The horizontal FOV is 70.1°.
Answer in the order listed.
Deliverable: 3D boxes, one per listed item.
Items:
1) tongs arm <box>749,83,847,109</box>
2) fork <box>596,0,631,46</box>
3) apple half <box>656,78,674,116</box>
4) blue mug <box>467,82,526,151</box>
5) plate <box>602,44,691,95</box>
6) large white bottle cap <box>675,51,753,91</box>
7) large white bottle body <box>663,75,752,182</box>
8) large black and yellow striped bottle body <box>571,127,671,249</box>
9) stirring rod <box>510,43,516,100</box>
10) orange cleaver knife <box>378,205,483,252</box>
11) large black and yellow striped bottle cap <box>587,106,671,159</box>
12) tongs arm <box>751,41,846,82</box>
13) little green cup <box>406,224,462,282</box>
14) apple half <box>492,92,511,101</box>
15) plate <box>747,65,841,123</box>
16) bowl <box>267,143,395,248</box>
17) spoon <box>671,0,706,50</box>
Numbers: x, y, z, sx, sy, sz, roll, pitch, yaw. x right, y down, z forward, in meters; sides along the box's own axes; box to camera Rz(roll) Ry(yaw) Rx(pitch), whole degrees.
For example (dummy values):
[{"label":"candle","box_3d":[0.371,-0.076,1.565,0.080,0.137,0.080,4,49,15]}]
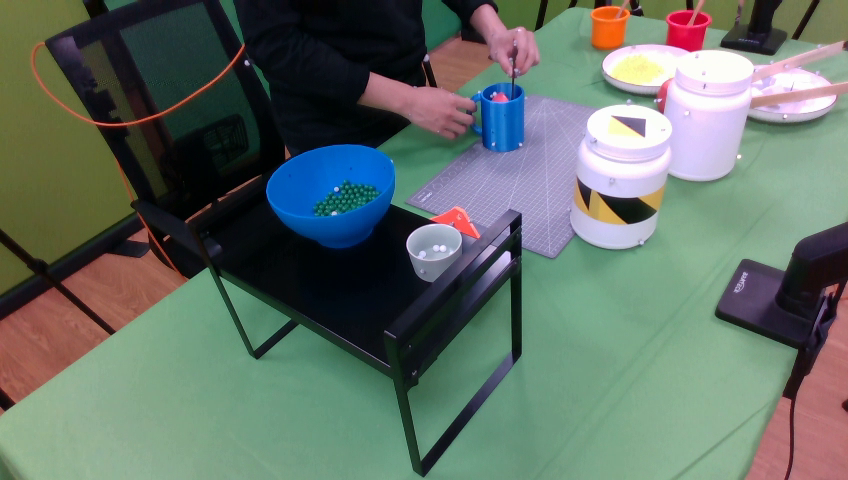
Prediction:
[{"label":"tongs arm","box_3d":[0.734,-0.280,1.133,0.388,0.028,0.028,-9,47,-5]},{"label":"fork","box_3d":[0.481,-0.555,1.452,0.028,0.019,0.207,41,104,40]},{"label":"apple half","box_3d":[0.488,-0.281,1.192,0.053,0.075,0.081,24,54,37]},{"label":"blue mug","box_3d":[0.139,-0.241,1.169,0.116,0.106,0.082,11,44,21]},{"label":"plate","box_3d":[0.495,-0.367,1.317,0.209,0.038,0.208,-4,40,4]},{"label":"large white bottle cap","box_3d":[0.463,-0.271,0.967,0.115,0.018,0.114,-4,40,4]},{"label":"large white bottle body","box_3d":[0.472,-0.207,1.022,0.130,0.185,0.130,-4,41,4]},{"label":"large black and yellow striped bottle body","box_3d":[0.296,-0.093,0.915,0.131,0.185,0.130,-3,42,3]},{"label":"stirring rod","box_3d":[0.166,-0.289,1.137,0.006,0.177,0.014,0,49,6]},{"label":"orange cleaver knife","box_3d":[0.005,-0.010,0.944,0.210,0.077,0.012,-5,23,47]},{"label":"large black and yellow striped bottle cap","box_3d":[0.290,-0.154,0.858,0.115,0.019,0.114,-4,42,4]},{"label":"tongs arm","box_3d":[0.708,-0.331,1.193,0.386,0.026,0.050,-18,45,-16]},{"label":"little green cup","box_3d":[0.012,0.015,0.668,0.061,0.039,0.061,-4,40,4]},{"label":"apple half","box_3d":[0.144,-0.240,1.154,0.033,0.081,0.080,-13,40,-20]},{"label":"plate","box_3d":[0.694,-0.282,1.189,0.207,0.039,0.206,-4,40,4]},{"label":"bowl","box_3d":[-0.104,-0.043,0.726,0.151,0.077,0.150,-4,40,4]},{"label":"spoon","box_3d":[0.628,-0.520,1.394,0.041,0.022,0.193,30,96,35]}]
